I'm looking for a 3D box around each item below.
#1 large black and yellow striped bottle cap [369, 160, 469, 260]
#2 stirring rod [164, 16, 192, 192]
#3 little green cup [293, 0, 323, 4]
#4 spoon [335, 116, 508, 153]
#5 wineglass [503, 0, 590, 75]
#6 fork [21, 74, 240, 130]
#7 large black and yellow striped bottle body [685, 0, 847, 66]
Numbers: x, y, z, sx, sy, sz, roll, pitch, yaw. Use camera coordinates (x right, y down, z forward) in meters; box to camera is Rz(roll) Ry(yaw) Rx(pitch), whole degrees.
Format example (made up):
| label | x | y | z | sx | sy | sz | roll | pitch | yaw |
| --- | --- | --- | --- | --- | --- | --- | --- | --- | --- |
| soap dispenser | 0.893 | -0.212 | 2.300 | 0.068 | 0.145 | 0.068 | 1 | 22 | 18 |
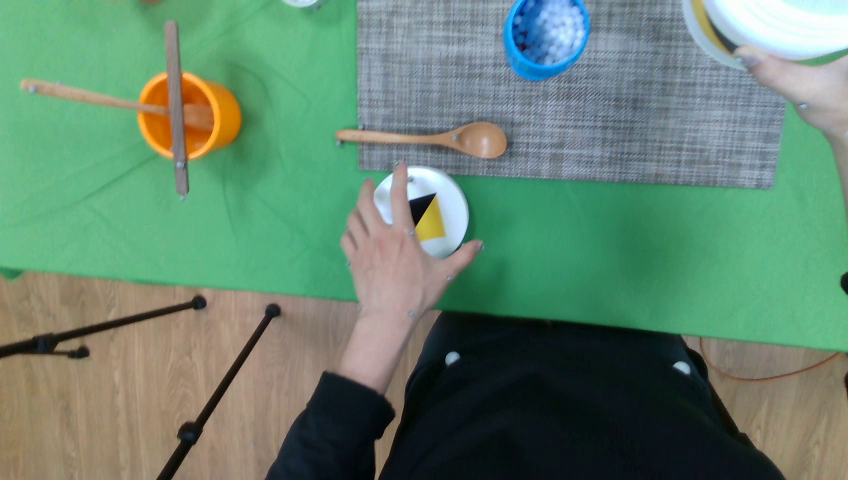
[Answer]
| label | x | y | z | sx | sy | sz | roll | pitch | yaw |
| --- | --- | --- | --- | --- | --- | --- | --- | --- | --- |
| large black and yellow striped bottle cap | -0.006 | -0.033 | 0.690 | 0.115 | 0.018 | 0.115 | 2 | 107 | 6 |
| stirring rod | -0.254 | -0.137 | 0.624 | 0.014 | 0.006 | 0.177 | 3 | 104 | 7 |
| little green cup | -0.123 | -0.278 | 0.634 | 0.061 | 0.038 | 0.062 | 2 | 104 | 7 |
| spoon | -0.006 | -0.117 | 0.663 | 0.193 | 0.021 | 0.042 | 3 | 124 | 7 |
| wineglass | 0.108 | -0.188 | 0.555 | 0.073 | 0.172 | 0.074 | 2 | 103 | 7 |
| fork | -0.295 | -0.144 | 0.631 | 0.209 | 0.018 | 0.028 | 4 | 116 | -39 |
| large black and yellow striped bottle body | 0.253 | -0.190 | 0.404 | 0.130 | 0.184 | 0.131 | 3 | 102 | 16 |
